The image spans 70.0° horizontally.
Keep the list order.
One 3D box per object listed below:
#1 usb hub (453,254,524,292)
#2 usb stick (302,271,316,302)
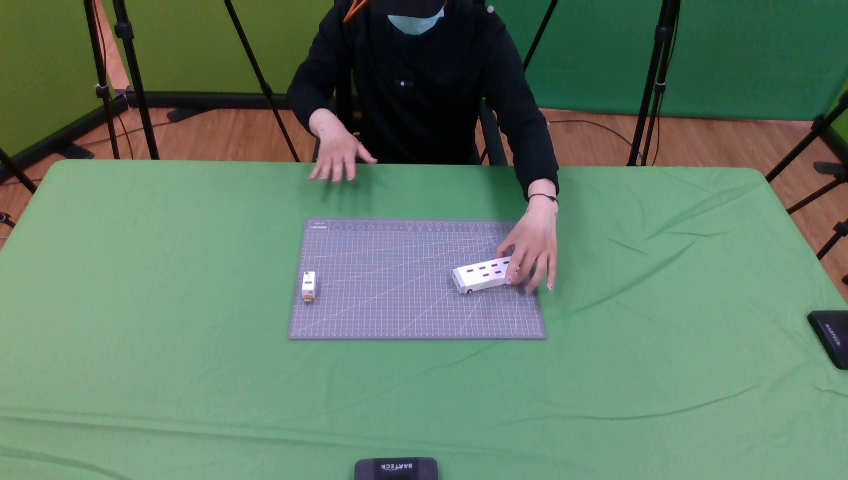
[{"bbox_3d":[0.121,0.063,1.135,0.125,0.025,0.049,-12,48,-13],"label":"usb hub"},{"bbox_3d":[-0.207,0.085,1.092,0.021,0.027,0.059,1,49,-5],"label":"usb stick"}]
